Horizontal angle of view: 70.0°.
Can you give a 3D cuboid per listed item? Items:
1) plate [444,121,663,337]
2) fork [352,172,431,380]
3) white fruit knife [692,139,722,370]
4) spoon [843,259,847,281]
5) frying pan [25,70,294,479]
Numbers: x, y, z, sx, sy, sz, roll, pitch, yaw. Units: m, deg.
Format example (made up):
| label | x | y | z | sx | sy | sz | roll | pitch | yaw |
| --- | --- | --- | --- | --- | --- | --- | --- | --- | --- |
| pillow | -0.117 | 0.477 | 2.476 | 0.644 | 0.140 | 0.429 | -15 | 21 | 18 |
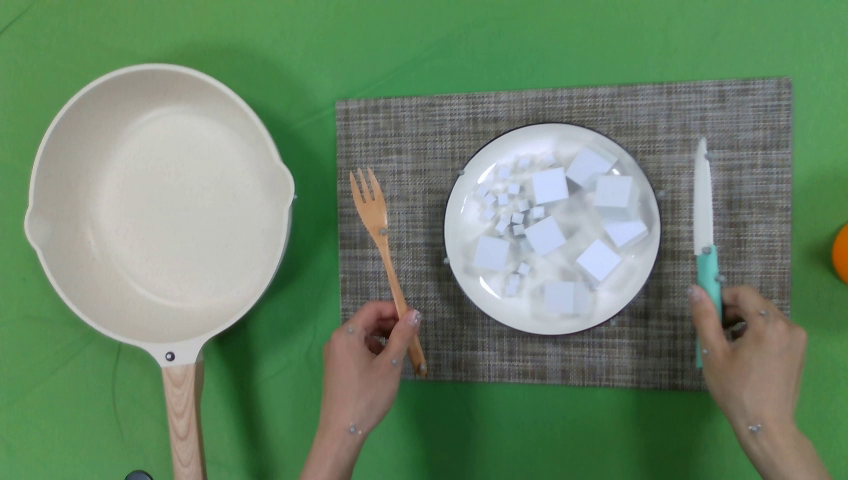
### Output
| label | x | y | z | sx | sy | sz | roll | pitch | yaw |
| --- | --- | --- | --- | --- | --- | --- | --- | --- | --- |
| plate | 0.124 | -0.010 | 0.598 | 0.207 | 0.039 | 0.207 | 0 | 93 | 10 |
| fork | -0.028 | 0.036 | 0.575 | 0.028 | 0.018 | 0.207 | -16 | 91 | 21 |
| white fruit knife | 0.248 | 0.015 | 0.537 | 0.016 | 0.027 | 0.207 | -5 | 93 | -21 |
| spoon | 0.444 | -0.002 | 0.491 | 0.021 | 0.194 | 0.041 | -33 | 88 | -35 |
| frying pan | -0.260 | 0.074 | 0.637 | 0.306 | 0.103 | 0.486 | -8 | 83 | 11 |
